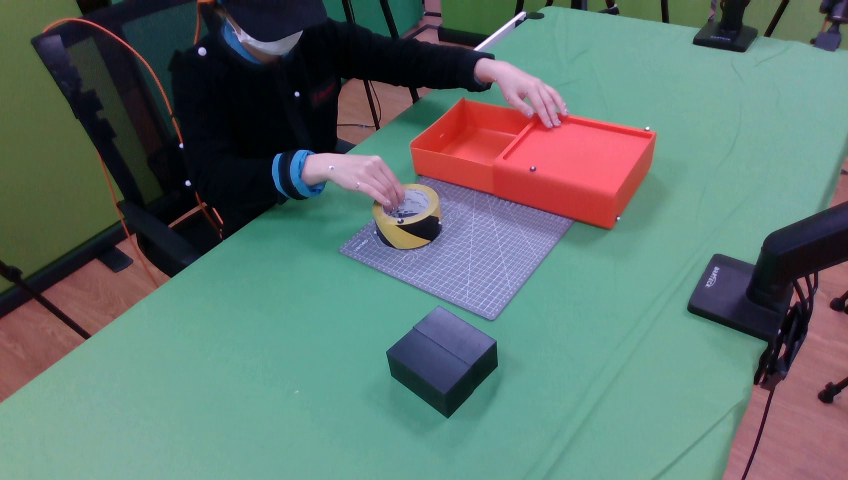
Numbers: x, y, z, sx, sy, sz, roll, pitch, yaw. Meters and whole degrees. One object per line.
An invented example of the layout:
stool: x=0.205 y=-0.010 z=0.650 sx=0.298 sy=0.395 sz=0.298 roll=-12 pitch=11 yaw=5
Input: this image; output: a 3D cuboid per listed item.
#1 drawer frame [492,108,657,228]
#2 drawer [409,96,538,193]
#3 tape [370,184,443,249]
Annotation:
drawer frame: x=0.255 y=-0.130 z=1.032 sx=0.212 sy=0.083 sz=0.202 roll=19 pitch=47 yaw=27
drawer: x=0.114 y=-0.177 z=1.114 sx=0.210 sy=0.073 sz=0.195 roll=19 pitch=46 yaw=29
tape: x=-0.028 y=-0.040 z=0.988 sx=0.117 sy=0.053 sz=0.116 roll=-5 pitch=39 yaw=5
